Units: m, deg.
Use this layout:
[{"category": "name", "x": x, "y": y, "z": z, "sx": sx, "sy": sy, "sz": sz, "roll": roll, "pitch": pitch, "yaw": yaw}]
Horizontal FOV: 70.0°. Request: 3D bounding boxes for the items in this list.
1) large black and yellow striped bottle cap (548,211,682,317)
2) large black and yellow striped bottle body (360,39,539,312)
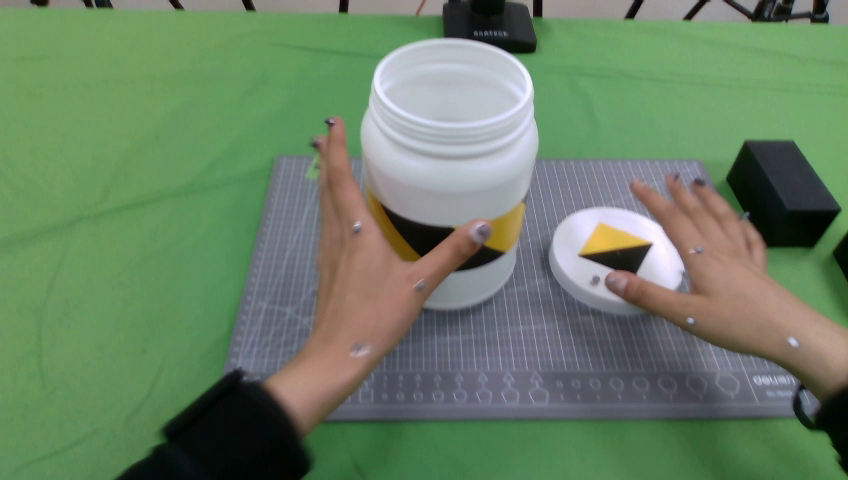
[{"category": "large black and yellow striped bottle cap", "x": 0.168, "y": 0.018, "z": 0.537, "sx": 0.115, "sy": 0.019, "sz": 0.114, "roll": 2, "pitch": 46, "yaw": -1}, {"category": "large black and yellow striped bottle body", "x": 0.018, "y": -0.046, "z": 0.474, "sx": 0.131, "sy": 0.185, "sz": 0.129, "roll": 1, "pitch": 47, "yaw": -1}]
